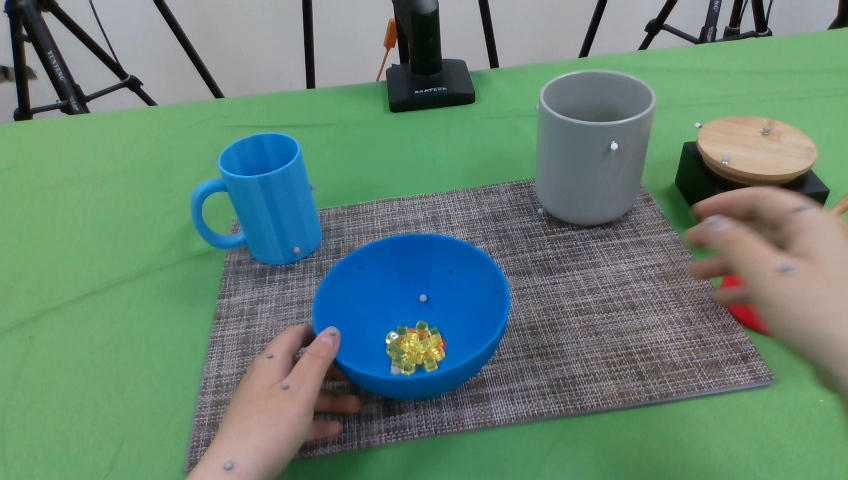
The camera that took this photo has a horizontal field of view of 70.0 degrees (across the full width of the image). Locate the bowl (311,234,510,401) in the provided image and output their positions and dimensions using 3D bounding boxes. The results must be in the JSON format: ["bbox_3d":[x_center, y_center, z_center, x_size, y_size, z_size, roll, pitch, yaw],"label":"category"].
[{"bbox_3d":[-0.007,0.073,0.478,0.151,0.077,0.150,-3,41,3],"label":"bowl"}]

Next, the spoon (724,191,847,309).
[{"bbox_3d":[0.327,-0.013,0.493,0.022,0.194,0.041,29,22,-31],"label":"spoon"}]

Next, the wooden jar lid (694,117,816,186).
[{"bbox_3d":[0.323,-0.087,0.597,0.108,0.021,0.107,-4,41,4],"label":"wooden jar lid"}]

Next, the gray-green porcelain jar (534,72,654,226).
[{"bbox_3d":[0.163,-0.086,0.603,0.106,0.128,0.105,-3,41,3],"label":"gray-green porcelain jar"}]

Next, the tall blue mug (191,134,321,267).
[{"bbox_3d":[-0.159,-0.030,0.589,0.077,0.109,0.107,26,50,30],"label":"tall blue mug"}]
